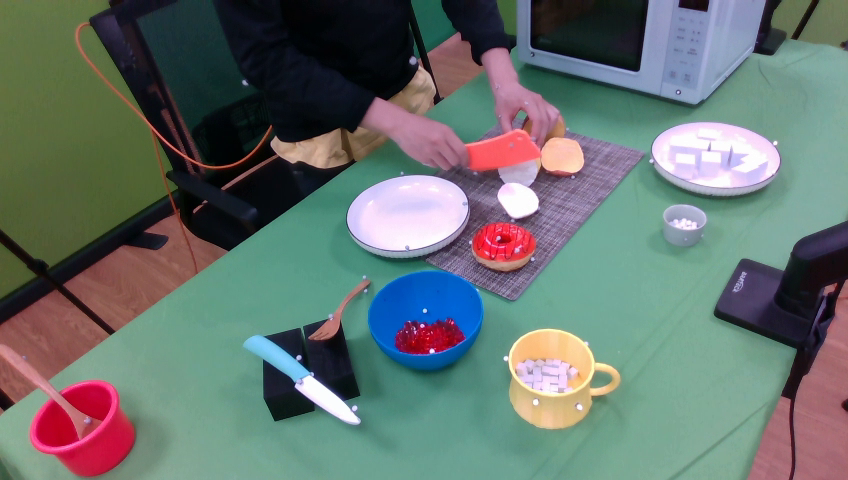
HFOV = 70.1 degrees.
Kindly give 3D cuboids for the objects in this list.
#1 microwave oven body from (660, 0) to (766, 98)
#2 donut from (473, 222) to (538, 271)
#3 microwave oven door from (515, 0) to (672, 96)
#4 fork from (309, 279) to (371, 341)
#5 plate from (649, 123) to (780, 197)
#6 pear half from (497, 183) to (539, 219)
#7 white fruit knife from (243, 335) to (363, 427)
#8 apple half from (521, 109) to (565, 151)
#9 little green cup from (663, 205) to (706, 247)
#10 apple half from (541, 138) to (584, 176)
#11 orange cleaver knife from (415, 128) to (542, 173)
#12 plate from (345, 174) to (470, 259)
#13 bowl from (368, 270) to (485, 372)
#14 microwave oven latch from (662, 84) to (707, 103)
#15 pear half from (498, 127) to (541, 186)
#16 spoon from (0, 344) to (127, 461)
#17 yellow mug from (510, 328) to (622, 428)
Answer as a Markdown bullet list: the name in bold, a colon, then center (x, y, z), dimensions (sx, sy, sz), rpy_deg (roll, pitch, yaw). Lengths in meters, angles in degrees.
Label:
- **microwave oven body**: center (0.472, -0.513, 1.317), dimensions (0.438, 0.261, 0.327), rpy_deg (26, 51, 34)
- **donut**: center (0.123, 0.008, 0.923), dimensions (0.099, 0.048, 0.098), rpy_deg (-3, 38, 3)
- **microwave oven door**: center (0.343, -0.455, 1.259), dimensions (0.353, 0.245, 0.039), rpy_deg (26, 51, 33)
- **fork**: center (-0.109, 0.092, 0.832), dimensions (0.028, 0.018, 0.207), rpy_deg (-6, 19, 15)
- **plate**: center (0.497, -0.135, 1.046), dimensions (0.207, 0.039, 0.206), rpy_deg (-4, 40, 4)
- **pear half**: center (0.154, -0.058, 1.005), dimensions (0.070, 0.031, 0.088), rpy_deg (14, 49, 7)
- **white fruit knife**: center (-0.148, 0.167, 0.729), dimensions (0.206, 0.016, 0.027), rpy_deg (27, 80, 31)
- **apple half**: center (0.224, -0.212, 1.145), dimensions (0.080, 0.075, 0.053), rpy_deg (-6, 36, 9)
- **little green cup**: center (0.396, -0.020, 0.926), dimensions (0.061, 0.039, 0.061), rpy_deg (-4, 40, 4)
- **apple half**: center (0.247, -0.146, 1.089), dimensions (0.081, 0.033, 0.081), rpy_deg (-2, 64, 4)
- **orange cleaver knife**: center (0.089, -0.143, 1.012), dimensions (0.210, 0.078, 0.012), rpy_deg (-6, 47, 25)
- **plate**: center (-0.026, -0.036, 1.004), dimensions (0.209, 0.038, 0.208), rpy_deg (-4, 40, 4)
- **bowl**: center (0.007, 0.118, 0.791), dimensions (0.151, 0.077, 0.150), rpy_deg (-5, 40, 4)
- **microwave oven latch**: center (0.517, -0.296, 1.204), dimensions (0.078, 0.029, 0.030), rpy_deg (27, 52, 35)
- **pear half**: center (0.168, -0.152, 1.053), dimensions (0.076, 0.110, 0.056), rpy_deg (8, 39, 12)
- **spoon**: center (-0.433, 0.191, 0.721), dimensions (0.194, 0.021, 0.042), rpy_deg (47, 53, -6)
- **yellow mug**: center (0.169, 0.164, 0.722), dimensions (0.130, 0.064, 0.099), rpy_deg (0, 40, 8)
